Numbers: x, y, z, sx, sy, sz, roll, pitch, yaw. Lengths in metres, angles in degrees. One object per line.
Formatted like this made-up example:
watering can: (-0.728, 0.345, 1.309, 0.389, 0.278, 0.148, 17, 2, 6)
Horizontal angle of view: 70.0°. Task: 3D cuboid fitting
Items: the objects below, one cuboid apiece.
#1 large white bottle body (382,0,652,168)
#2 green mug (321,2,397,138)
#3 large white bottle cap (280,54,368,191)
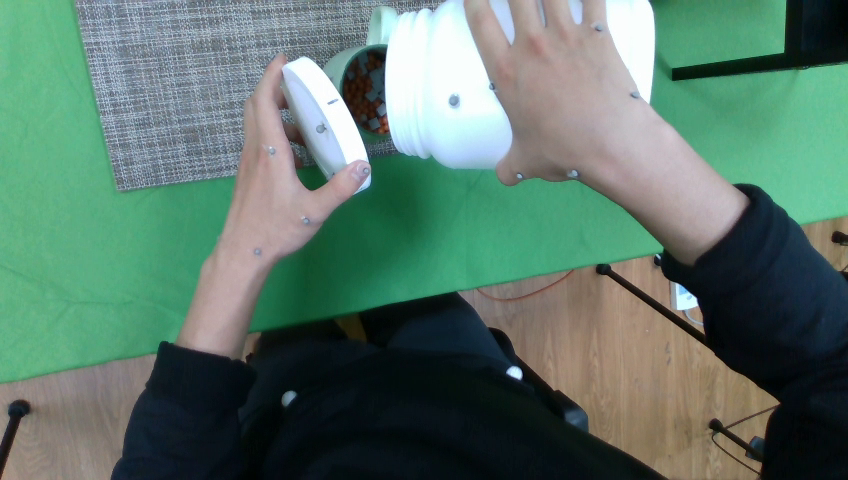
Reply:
large white bottle body: (0.070, -0.122, 0.467, 0.184, 0.130, 0.131, 3, 101, 12)
green mug: (-0.049, -0.159, 0.572, 0.093, 0.104, 0.125, 7, 98, -19)
large white bottle cap: (-0.081, -0.094, 0.495, 0.018, 0.114, 0.115, -31, 109, -17)
